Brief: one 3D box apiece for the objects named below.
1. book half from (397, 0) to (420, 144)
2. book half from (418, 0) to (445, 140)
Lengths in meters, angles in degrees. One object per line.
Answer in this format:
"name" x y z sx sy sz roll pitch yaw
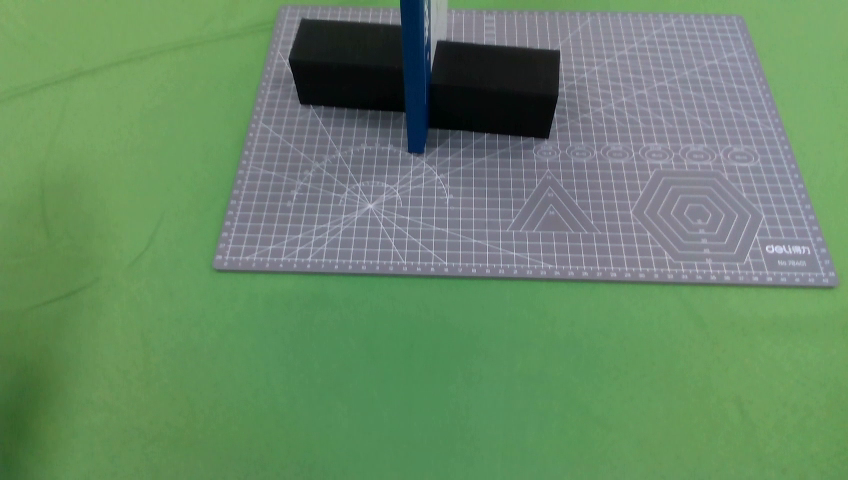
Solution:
"book half" -0.002 -0.193 0.441 0.016 0.212 0.147 6 59 4
"book half" 0.006 -0.195 0.443 0.007 0.212 0.142 7 59 5
